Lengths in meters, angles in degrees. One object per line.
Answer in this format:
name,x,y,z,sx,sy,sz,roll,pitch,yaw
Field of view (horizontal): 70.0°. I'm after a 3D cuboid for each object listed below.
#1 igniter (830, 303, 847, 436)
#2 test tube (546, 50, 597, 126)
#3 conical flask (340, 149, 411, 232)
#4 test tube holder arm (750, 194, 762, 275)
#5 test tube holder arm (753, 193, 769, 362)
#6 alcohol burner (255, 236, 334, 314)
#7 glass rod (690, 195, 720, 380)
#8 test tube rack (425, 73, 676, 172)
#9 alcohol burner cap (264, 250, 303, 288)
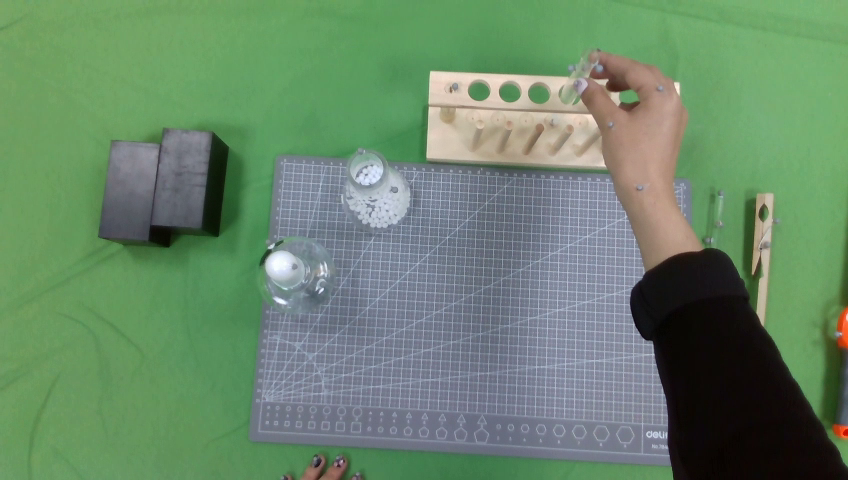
igniter,0.459,0.067,0.633,0.057,0.025,0.275,13,82,-9
test tube,0.138,-0.141,0.579,0.017,0.150,0.017,0,81,0
conical flask,-0.052,-0.053,0.593,0.075,0.122,0.075,0,82,0
test tube holder arm,0.355,-0.005,0.648,0.010,0.015,0.087,1,81,36
test tube holder arm,0.356,0.039,0.639,0.013,0.015,0.178,-1,80,35
alcohol burner,-0.129,0.031,0.585,0.078,0.119,0.077,0,81,2
glass rod,0.298,0.049,0.642,0.008,0.008,0.199,10,84,1
test tube rack,0.123,-0.119,0.626,0.242,0.085,0.066,3,82,0
alcohol burner cap,-0.129,0.024,0.549,0.034,0.048,0.033,1,78,-5
